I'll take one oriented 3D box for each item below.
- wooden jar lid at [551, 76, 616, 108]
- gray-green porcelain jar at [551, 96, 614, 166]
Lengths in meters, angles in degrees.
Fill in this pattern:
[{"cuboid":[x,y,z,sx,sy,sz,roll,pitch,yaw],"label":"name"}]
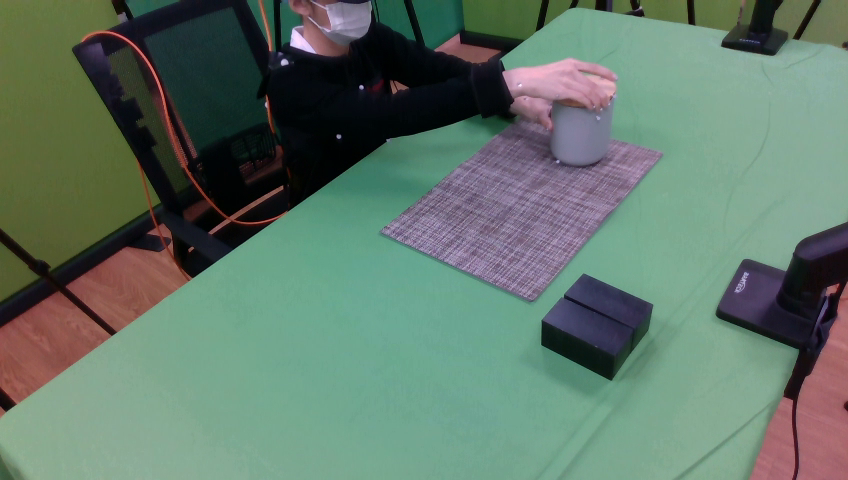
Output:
[{"cuboid":[0.275,-0.253,1.046,0.108,0.021,0.108,-5,38,4],"label":"wooden jar lid"},{"cuboid":[0.282,-0.206,1.087,0.106,0.127,0.105,-5,40,4],"label":"gray-green porcelain jar"}]
